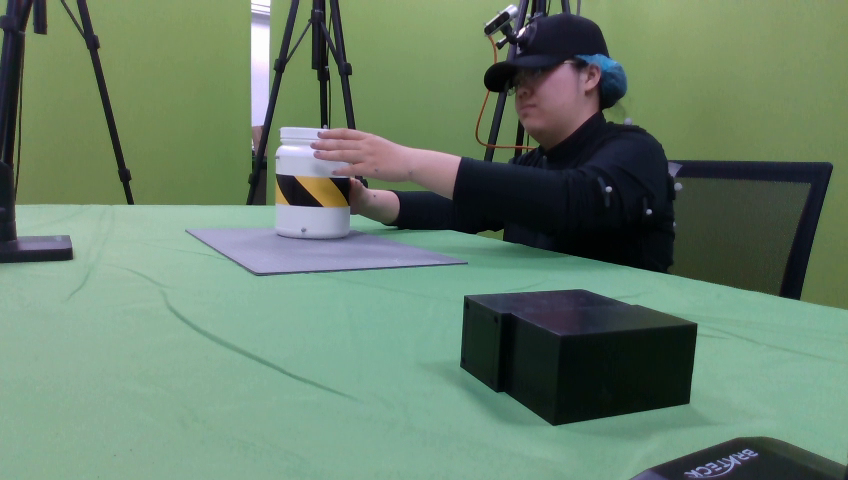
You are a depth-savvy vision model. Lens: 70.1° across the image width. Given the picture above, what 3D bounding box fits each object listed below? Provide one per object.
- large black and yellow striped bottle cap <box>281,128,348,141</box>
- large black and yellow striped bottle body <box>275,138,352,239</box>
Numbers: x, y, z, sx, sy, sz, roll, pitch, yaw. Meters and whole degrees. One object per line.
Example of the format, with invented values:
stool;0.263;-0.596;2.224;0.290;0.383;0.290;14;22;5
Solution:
large black and yellow striped bottle cap;-0.189;-0.182;1.047;0.115;0.019;0.115;2;7;0
large black and yellow striped bottle body;-0.193;-0.100;1.060;0.131;0.184;0.130;3;8;0
